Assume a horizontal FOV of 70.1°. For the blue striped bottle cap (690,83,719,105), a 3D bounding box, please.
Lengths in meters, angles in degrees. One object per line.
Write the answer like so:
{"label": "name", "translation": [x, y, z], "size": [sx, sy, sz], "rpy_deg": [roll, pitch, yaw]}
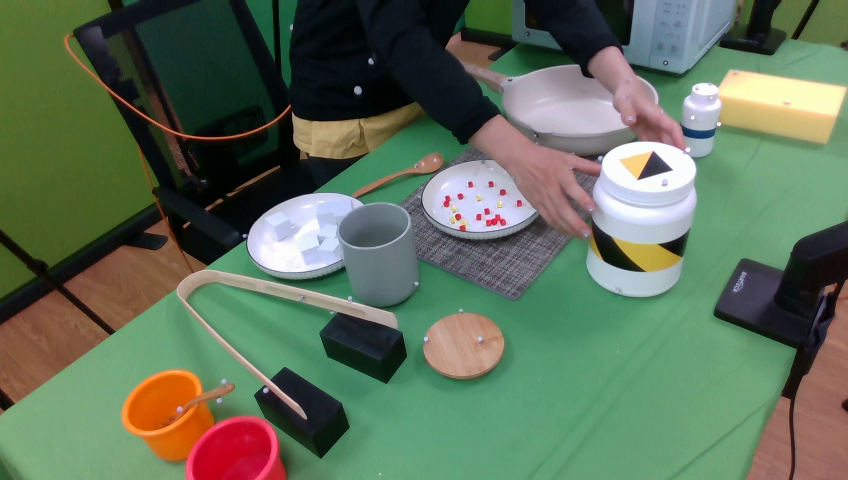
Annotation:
{"label": "blue striped bottle cap", "translation": [0.481, -0.251, 1.038], "size": [0.044, 0.021, 0.044], "rpy_deg": [-5, 40, 5]}

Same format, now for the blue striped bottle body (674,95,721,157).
{"label": "blue striped bottle body", "translation": [0.486, -0.213, 1.072], "size": [0.063, 0.121, 0.063], "rpy_deg": [-5, 41, 4]}

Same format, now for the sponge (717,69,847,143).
{"label": "sponge", "translation": [0.663, -0.256, 1.141], "size": [0.205, 0.061, 0.118], "rpy_deg": [19, 47, 28]}

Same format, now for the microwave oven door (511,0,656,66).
{"label": "microwave oven door", "translation": [0.351, -0.540, 1.349], "size": [0.353, 0.245, 0.039], "rpy_deg": [24, 50, 31]}

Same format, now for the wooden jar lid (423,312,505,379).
{"label": "wooden jar lid", "translation": [0.053, 0.142, 0.800], "size": [0.108, 0.021, 0.108], "rpy_deg": [-5, 39, 4]}

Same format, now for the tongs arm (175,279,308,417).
{"label": "tongs arm", "translation": [-0.255, 0.131, 0.800], "size": [0.028, 0.028, 0.384], "rpy_deg": [-40, 40, -24]}

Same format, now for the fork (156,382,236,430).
{"label": "fork", "translation": [-0.262, 0.189, 0.690], "size": [0.018, 0.206, 0.028], "rpy_deg": [49, 43, -7]}

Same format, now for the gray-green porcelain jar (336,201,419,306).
{"label": "gray-green porcelain jar", "translation": [-0.064, 0.024, 0.872], "size": [0.106, 0.127, 0.105], "rpy_deg": [-4, 41, 4]}

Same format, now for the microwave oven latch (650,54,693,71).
{"label": "microwave oven latch", "translation": [0.531, -0.386, 1.301], "size": [0.078, 0.029, 0.030], "rpy_deg": [26, 51, 33]}

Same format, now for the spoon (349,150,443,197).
{"label": "spoon", "translation": [-0.051, -0.123, 1.120], "size": [0.194, 0.022, 0.041], "rpy_deg": [-23, 61, -18]}

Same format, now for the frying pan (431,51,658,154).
{"label": "frying pan", "translation": [0.216, -0.303, 1.223], "size": [0.484, 0.103, 0.308], "rpy_deg": [29, 50, 24]}

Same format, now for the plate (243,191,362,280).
{"label": "plate", "translation": [-0.188, -0.005, 0.992], "size": [0.207, 0.039, 0.206], "rpy_deg": [-4, 41, 4]}

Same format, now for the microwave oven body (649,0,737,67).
{"label": "microwave oven body", "translation": [0.475, -0.602, 1.411], "size": [0.438, 0.261, 0.327], "rpy_deg": [23, 50, 32]}

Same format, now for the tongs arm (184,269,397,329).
{"label": "tongs arm", "translation": [-0.203, 0.085, 0.847], "size": [0.382, 0.027, 0.051], "rpy_deg": [11, 44, 35]}

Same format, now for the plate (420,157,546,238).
{"label": "plate", "translation": [0.099, -0.067, 1.017], "size": [0.209, 0.038, 0.208], "rpy_deg": [-4, 40, 4]}

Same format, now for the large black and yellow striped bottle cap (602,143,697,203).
{"label": "large black and yellow striped bottle cap", "translation": [0.289, -0.089, 0.778], "size": [0.115, 0.019, 0.114], "rpy_deg": [-4, 40, 4]}

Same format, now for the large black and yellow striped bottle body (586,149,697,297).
{"label": "large black and yellow striped bottle body", "translation": [0.298, -0.026, 0.835], "size": [0.131, 0.185, 0.130], "rpy_deg": [-3, 41, 4]}
